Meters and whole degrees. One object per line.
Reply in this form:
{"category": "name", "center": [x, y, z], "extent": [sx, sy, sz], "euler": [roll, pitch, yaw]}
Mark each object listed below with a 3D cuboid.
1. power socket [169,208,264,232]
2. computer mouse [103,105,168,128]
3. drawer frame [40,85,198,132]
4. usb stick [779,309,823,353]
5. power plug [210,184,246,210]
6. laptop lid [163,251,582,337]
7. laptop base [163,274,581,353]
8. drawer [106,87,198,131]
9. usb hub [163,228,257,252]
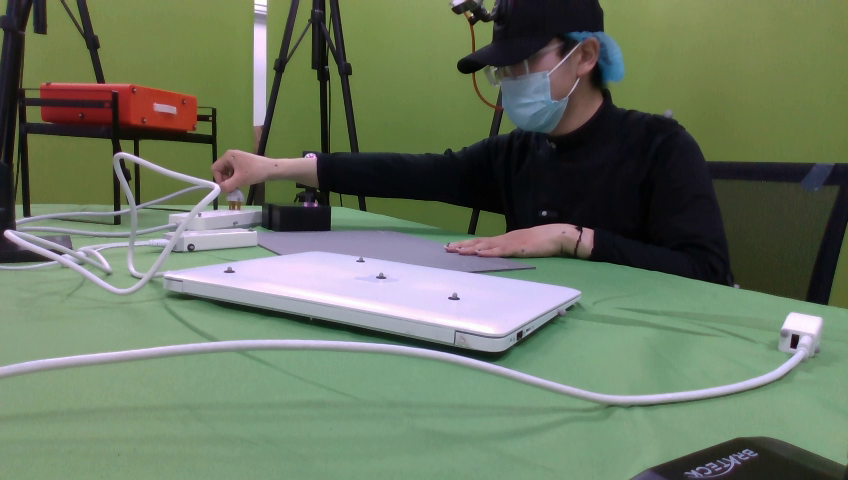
{"category": "power socket", "center": [-0.381, -0.038, 1.129], "extent": [0.072, 0.032, 0.227], "euler": [4, 8, 16]}
{"category": "computer mouse", "center": [-0.582, -0.249, 1.223], "extent": [0.118, 0.041, 0.062], "euler": [2, 3, -39]}
{"category": "drawer frame", "center": [-0.612, -0.266, 1.235], "extent": [0.213, 0.082, 0.202], "euler": [4, 8, 15]}
{"category": "usb stick", "center": [0.311, 0.072, 0.496], "extent": [0.027, 0.021, 0.059], "euler": [7, 15, 34]}
{"category": "power plug", "center": [-0.388, -0.084, 1.203], "extent": [0.072, 0.052, 0.035], "euler": [5, 3, 21]}
{"category": "laptop lid", "center": [-0.045, 0.040, 0.598], "extent": [0.355, 0.013, 0.243], "euler": [7, 7, 30]}
{"category": "laptop base", "center": [-0.046, 0.052, 0.598], "extent": [0.353, 0.023, 0.236], "euler": [6, 6, 28]}
{"category": "drawer", "center": [-0.609, -0.264, 1.235], "extent": [0.211, 0.073, 0.195], "euler": [4, 8, 16]}
{"category": "usb hub", "center": [-0.314, 0.000, 0.894], "extent": [0.049, 0.025, 0.126], "euler": [9, 11, 41]}
